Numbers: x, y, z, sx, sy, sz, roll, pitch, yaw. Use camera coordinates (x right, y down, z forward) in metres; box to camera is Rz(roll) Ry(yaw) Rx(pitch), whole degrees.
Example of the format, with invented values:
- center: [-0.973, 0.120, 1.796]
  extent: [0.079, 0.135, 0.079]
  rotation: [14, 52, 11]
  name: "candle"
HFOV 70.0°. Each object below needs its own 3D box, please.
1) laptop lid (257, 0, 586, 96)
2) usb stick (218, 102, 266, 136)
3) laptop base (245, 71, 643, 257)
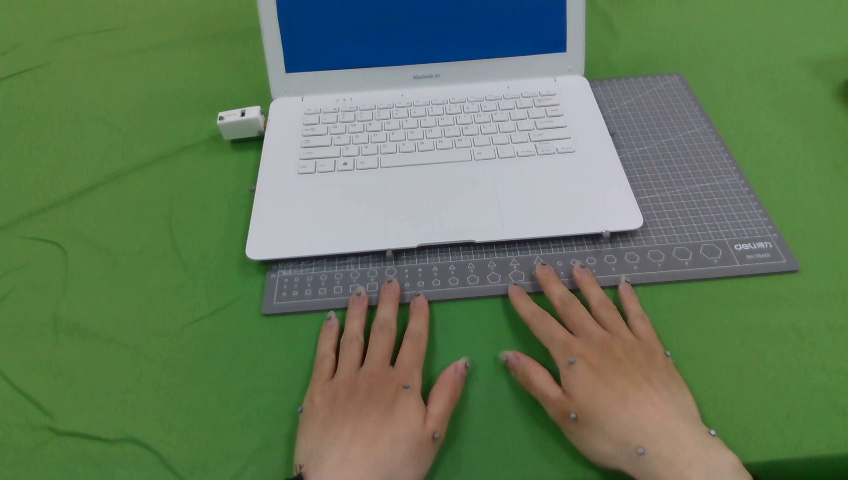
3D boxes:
- center: [-0.003, -0.280, 0.644]
  extent: [0.357, 0.243, 0.013]
  rotation: [-6, 19, 0]
  name: "laptop lid"
- center: [-0.185, -0.129, 0.643]
  extent: [0.059, 0.027, 0.021]
  rotation: [-7, 48, -1]
  name: "usb stick"
- center: [0.012, -0.083, 0.606]
  extent: [0.354, 0.023, 0.233]
  rotation: [-5, 51, -1]
  name: "laptop base"
